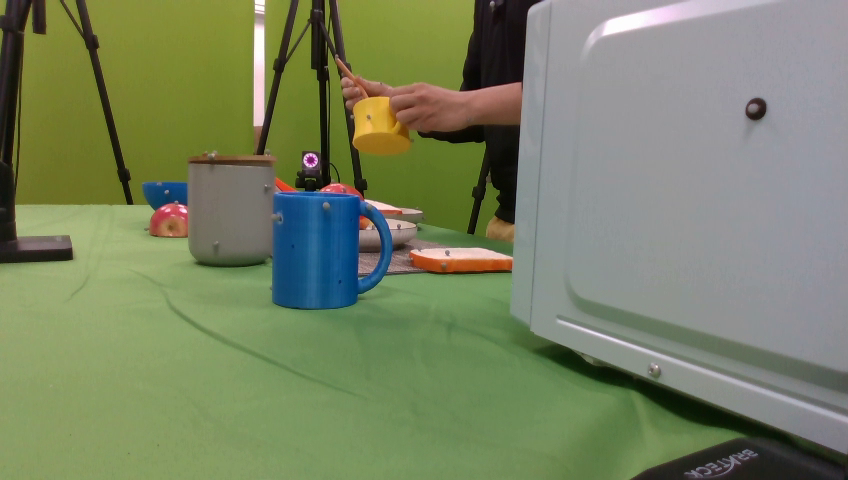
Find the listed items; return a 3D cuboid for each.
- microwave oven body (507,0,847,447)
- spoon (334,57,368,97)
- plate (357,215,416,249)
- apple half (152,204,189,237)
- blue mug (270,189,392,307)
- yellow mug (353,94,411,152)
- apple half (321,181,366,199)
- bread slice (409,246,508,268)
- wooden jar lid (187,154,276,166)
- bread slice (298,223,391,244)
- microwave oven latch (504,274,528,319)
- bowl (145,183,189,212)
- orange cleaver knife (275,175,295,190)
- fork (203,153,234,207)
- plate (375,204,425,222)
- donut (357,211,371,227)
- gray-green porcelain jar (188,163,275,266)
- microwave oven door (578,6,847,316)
[{"bbox_3d":[0.331,-0.042,0.425,0.444,0.260,0.324,-2,8,-31],"label":"microwave oven body"},{"bbox_3d":[-0.107,-0.254,1.064,0.021,0.193,0.042,-31,-19,-3],"label":"spoon"},{"bbox_3d":[-0.116,-0.014,0.967,0.208,0.039,0.207,2,7,0],"label":"plate"},{"bbox_3d":[-0.415,-0.034,1.017,0.081,0.053,0.074,1,10,-9],"label":"apple half"},{"bbox_3d":[-0.090,0.005,0.588,0.117,0.106,0.082,1,7,-11],"label":"blue mug"},{"bbox_3d":[-0.065,-0.203,1.026,0.100,0.064,0.130,5,-14,-28],"label":"yellow mug"},{"bbox_3d":[-0.129,-0.077,0.952,0.081,0.033,0.081,2,15,0],"label":"apple half"},{"bbox_3d":[0.048,0.022,0.816,0.132,0.019,0.104,0,6,-24],"label":"bread slice"},{"bbox_3d":[-0.244,-0.097,0.771,0.108,0.020,0.108,-1,7,0],"label":"wooden jar lid"},{"bbox_3d":[-0.121,-0.013,0.971,0.106,0.018,0.135,9,12,41],"label":"bread slice"},{"bbox_3d":[0.100,0.041,0.470,0.079,0.029,0.030,-1,7,-27],"label":"microwave oven latch"},{"bbox_3d":[-0.459,-0.069,1.175,0.151,0.077,0.151,2,7,0],"label":"bowl"},{"bbox_3d":[-0.283,-0.087,1.343,0.212,0.077,0.012,24,-16,-41],"label":"orange cleaver knife"},{"bbox_3d":[-0.480,-0.134,1.411,0.028,0.018,0.207,1,-35,0],"label":"fork"},{"bbox_3d":[-0.102,-0.053,1.299,0.209,0.038,0.209,2,8,0],"label":"plate"},{"bbox_3d":[-0.132,-0.041,0.959,0.099,0.048,0.099,3,8,0],"label":"donut"},{"bbox_3d":[-0.246,-0.034,0.779,0.106,0.126,0.106,2,7,0],"label":"gray-green porcelain jar"},{"bbox_3d":[0.294,-0.067,0.570,0.358,0.243,0.039,-3,9,-31],"label":"microwave oven door"}]
